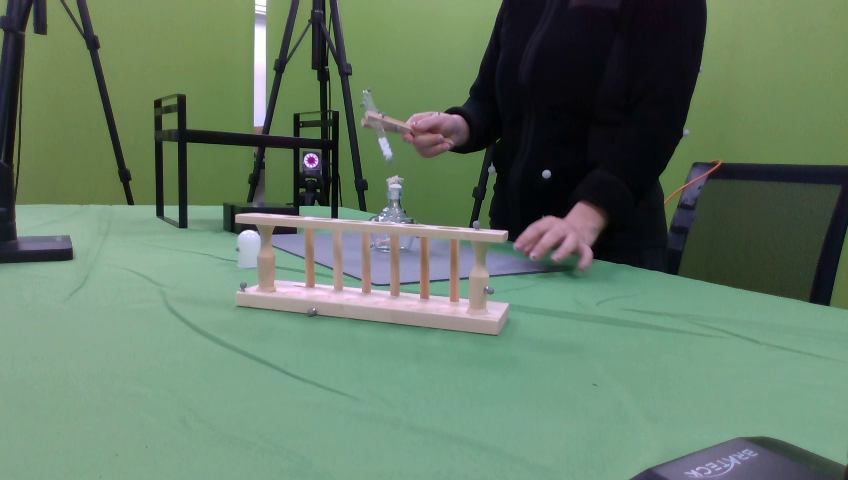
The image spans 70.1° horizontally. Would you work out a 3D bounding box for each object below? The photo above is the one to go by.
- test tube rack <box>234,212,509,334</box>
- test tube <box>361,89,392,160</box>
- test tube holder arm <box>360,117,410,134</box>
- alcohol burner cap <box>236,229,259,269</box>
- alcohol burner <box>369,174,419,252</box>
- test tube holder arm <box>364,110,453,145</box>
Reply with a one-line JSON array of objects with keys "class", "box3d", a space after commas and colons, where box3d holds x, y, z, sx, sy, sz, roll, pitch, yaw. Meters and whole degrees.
[{"class": "test tube rack", "box3d": [-0.047, 0.023, 0.547, 0.242, 0.085, 0.067, 4, 8, 15]}, {"class": "test tube", "box3d": [-0.074, -0.180, 0.937, 0.017, 0.149, 0.017, -14, -33, -9]}, {"class": "test tube holder arm", "box3d": [-0.059, -0.181, 0.957, 0.088, 0.015, 0.010, 2, -38, -32]}, {"class": "alcohol burner cap", "box3d": [-0.221, 0.010, 0.759, 0.034, 0.048, 0.034, -1, 12, 1]}, {"class": "alcohol burner", "box3d": [-0.047, -0.041, 0.922, 0.078, 0.119, 0.078, 2, 9, 0]}, {"class": "test tube holder arm", "box3d": [-0.020, -0.180, 0.980, 0.179, 0.015, 0.013, 8, -41, -38]}]
